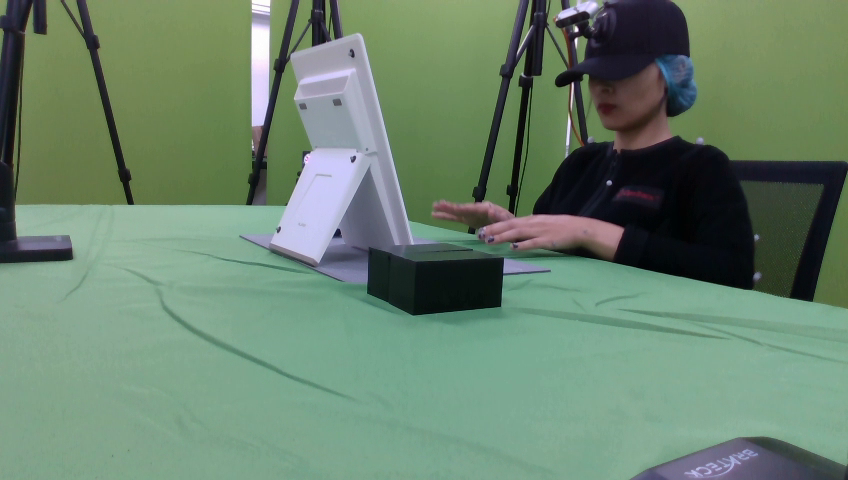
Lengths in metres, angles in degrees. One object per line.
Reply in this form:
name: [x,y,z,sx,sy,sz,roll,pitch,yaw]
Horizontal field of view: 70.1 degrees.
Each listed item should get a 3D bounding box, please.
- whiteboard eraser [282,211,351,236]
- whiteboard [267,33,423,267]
whiteboard eraser: [-0.189,-0.029,1.066,0.113,0.042,0.055,-2,8,-29]
whiteboard: [-0.153,-0.097,0.818,0.144,0.305,0.216,-24,20,-28]
